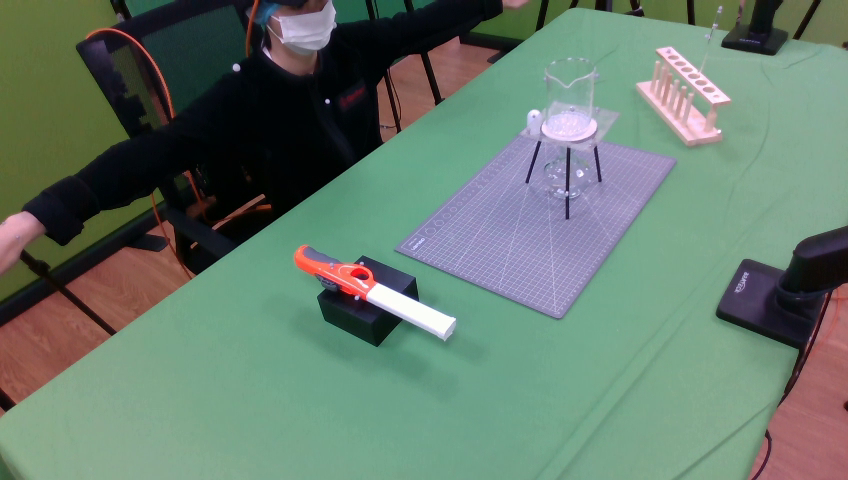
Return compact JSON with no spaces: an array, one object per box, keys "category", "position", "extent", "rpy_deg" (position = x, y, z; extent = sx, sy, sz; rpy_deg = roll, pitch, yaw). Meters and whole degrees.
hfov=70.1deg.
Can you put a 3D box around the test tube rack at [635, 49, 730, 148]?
[{"category":"test tube rack","position":[0.497,-0.283,1.185],"extent":[0.067,0.085,0.240],"rpy_deg":[-10,40,-2]}]

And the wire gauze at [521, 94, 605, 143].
[{"category":"wire gauze","position":[0.219,-0.190,0.949],"extent":[0.121,0.011,0.125],"rpy_deg":[7,46,14]}]

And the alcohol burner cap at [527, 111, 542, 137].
[{"category":"alcohol burner cap","position":[0.221,-0.233,1.200],"extent":[0.034,0.048,0.033],"rpy_deg":[-7,41,6]}]

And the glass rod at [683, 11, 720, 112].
[{"category":"glass rod","position":[0.518,-0.329,1.133],"extent":[0.008,0.200,0.008],"rpy_deg":[1,42,-1]}]

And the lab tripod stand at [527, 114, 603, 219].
[{"category":"lab tripod stand","position":[0.234,-0.129,1.002],"extent":[0.148,0.132,0.147],"rpy_deg":[-6,40,6]}]

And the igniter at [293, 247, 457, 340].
[{"category":"igniter","position":[-0.077,0.068,0.830],"extent":[0.274,0.025,0.057],"rpy_deg":[22,48,27]}]

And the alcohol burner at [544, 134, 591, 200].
[{"category":"alcohol burner","position":[0.241,-0.127,1.014],"extent":[0.078,0.119,0.077],"rpy_deg":[-5,42,5]}]

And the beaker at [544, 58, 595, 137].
[{"category":"beaker","position":[0.222,-0.214,0.926],"extent":[0.074,0.101,0.084],"rpy_deg":[4,42,16]}]
